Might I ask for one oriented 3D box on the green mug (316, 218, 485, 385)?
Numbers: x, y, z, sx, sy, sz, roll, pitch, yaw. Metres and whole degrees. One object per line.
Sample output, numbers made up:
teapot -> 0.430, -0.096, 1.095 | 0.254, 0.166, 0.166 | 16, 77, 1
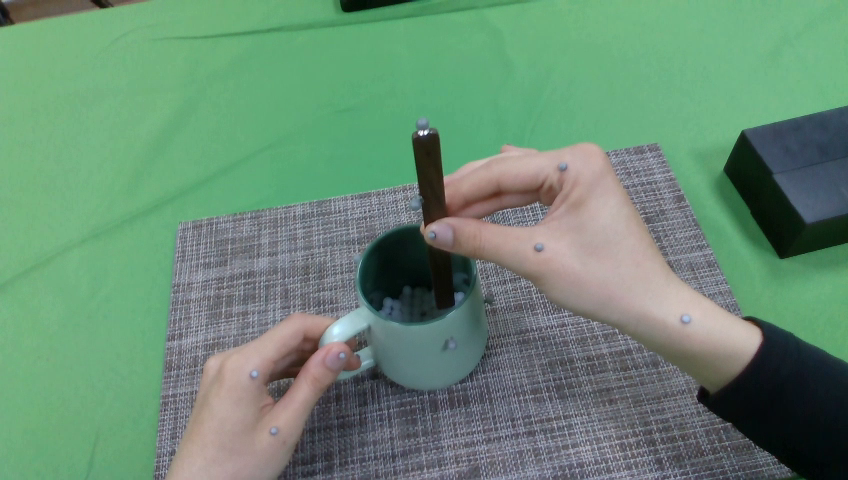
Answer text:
green mug -> -0.017, 0.054, 0.426 | 0.125, 0.106, 0.091 | -30, 59, -13

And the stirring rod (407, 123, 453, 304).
stirring rod -> 0.006, -0.005, 0.356 | 0.014, 0.178, 0.005 | -15, 57, -4
